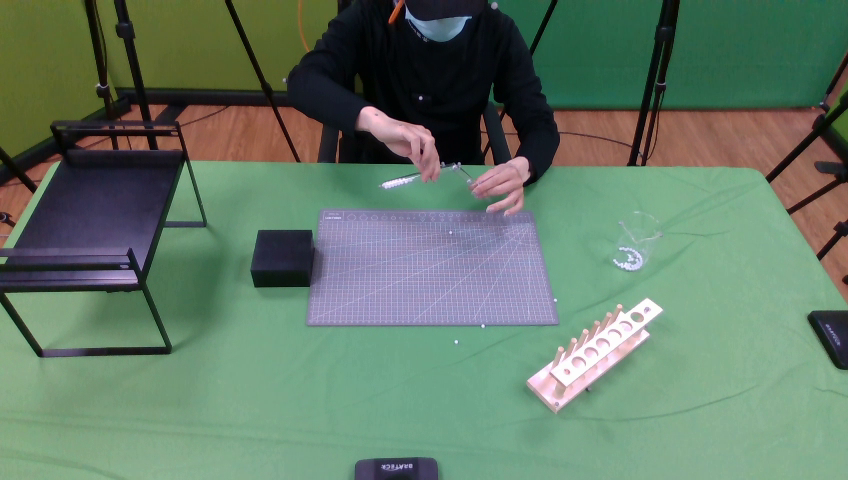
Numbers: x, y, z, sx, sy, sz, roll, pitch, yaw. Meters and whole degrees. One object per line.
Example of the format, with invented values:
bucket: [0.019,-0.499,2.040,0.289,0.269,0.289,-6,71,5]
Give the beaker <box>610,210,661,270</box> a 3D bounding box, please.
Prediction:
beaker: [0.404,0.005,1.170,0.074,0.101,0.083,19,49,15]

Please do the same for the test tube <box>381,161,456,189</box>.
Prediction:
test tube: [-0.009,-0.118,1.095,0.150,0.017,0.017,-18,50,-22]

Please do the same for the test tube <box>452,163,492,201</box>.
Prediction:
test tube: [0.097,-0.110,1.183,0.017,0.151,0.017,-13,63,28]

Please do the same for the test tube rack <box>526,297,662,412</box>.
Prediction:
test tube rack: [0.284,0.176,1.007,0.242,0.085,0.066,-29,54,-27]
